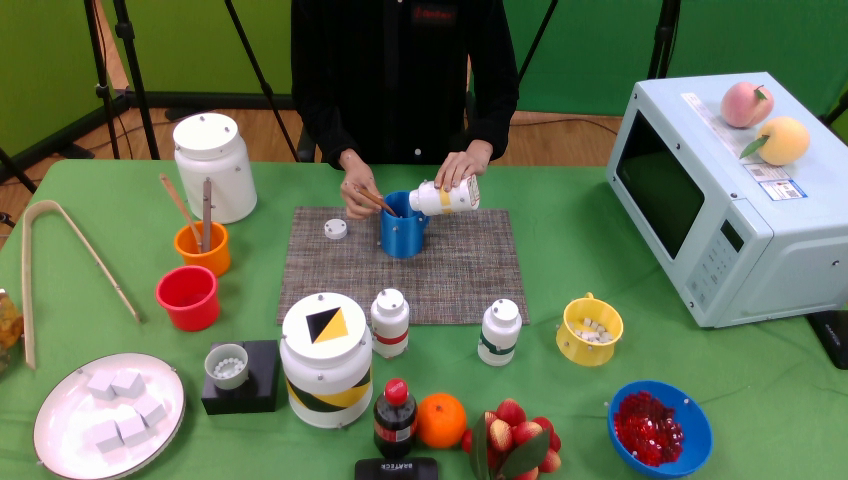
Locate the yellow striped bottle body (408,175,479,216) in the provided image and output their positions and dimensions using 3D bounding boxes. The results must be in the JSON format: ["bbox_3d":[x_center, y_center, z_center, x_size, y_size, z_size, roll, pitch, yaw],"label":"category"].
[{"bbox_3d":[0.033,-0.078,1.087,0.120,0.063,0.062,-6,41,24],"label":"yellow striped bottle body"}]

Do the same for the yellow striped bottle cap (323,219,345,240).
[{"bbox_3d":[-0.179,-0.021,1.204,0.044,0.019,0.044,3,46,-3],"label":"yellow striped bottle cap"}]

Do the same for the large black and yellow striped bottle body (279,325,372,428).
[{"bbox_3d":[-0.143,0.181,0.900,0.131,0.185,0.130,2,46,-2],"label":"large black and yellow striped bottle body"}]

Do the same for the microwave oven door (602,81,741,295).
[{"bbox_3d":[0.456,-0.107,1.162,0.039,0.245,0.353,-6,47,-11],"label":"microwave oven door"}]

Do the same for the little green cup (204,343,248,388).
[{"bbox_3d":[-0.294,0.190,0.909,0.061,0.039,0.061,1,48,-1],"label":"little green cup"}]

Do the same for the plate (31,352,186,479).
[{"bbox_3d":[-0.459,0.262,0.898,0.209,0.038,0.208,2,46,-2],"label":"plate"}]

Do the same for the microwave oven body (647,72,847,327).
[{"bbox_3d":[0.607,-0.089,1.164,0.326,0.261,0.438,-7,46,-10],"label":"microwave oven body"}]

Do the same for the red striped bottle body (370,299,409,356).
[{"bbox_3d":[-0.058,0.134,0.997,0.063,0.120,0.062,4,47,-4],"label":"red striped bottle body"}]

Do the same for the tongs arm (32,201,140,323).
[{"bbox_3d":[-0.623,0.035,1.105,0.051,0.026,0.382,-33,56,-25],"label":"tongs arm"}]

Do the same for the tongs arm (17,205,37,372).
[{"bbox_3d":[-0.698,0.072,1.069,0.028,0.028,0.385,-21,51,-13],"label":"tongs arm"}]

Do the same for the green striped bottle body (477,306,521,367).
[{"bbox_3d":[0.124,0.151,0.995,0.063,0.120,0.063,2,46,-1],"label":"green striped bottle body"}]

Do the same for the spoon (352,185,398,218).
[{"bbox_3d":[-0.070,-0.056,1.123,0.021,0.195,0.041,-34,50,13],"label":"spoon"}]

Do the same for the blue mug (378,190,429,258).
[{"bbox_3d":[-0.033,-0.037,1.168,0.116,0.106,0.082,-31,56,-28],"label":"blue mug"}]

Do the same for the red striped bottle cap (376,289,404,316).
[{"bbox_3d":[-0.055,0.098,0.958,0.044,0.018,0.044,0,48,1],"label":"red striped bottle cap"}]

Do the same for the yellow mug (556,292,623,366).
[{"bbox_3d":[0.285,0.145,1.051,0.100,0.064,0.130,7,45,3],"label":"yellow mug"}]

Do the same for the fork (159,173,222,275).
[{"bbox_3d":[-0.427,-0.029,1.103,0.028,0.018,0.207,-31,99,-30],"label":"fork"}]

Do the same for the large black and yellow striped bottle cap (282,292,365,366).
[{"bbox_3d":[-0.138,0.121,0.841,0.115,0.019,0.114,3,47,-3],"label":"large black and yellow striped bottle cap"}]

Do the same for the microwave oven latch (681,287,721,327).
[{"bbox_3d":[0.494,0.119,1.087,0.030,0.029,0.078,-6,46,-9],"label":"microwave oven latch"}]

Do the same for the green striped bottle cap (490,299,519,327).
[{"bbox_3d":[0.127,0.115,0.958,0.044,0.020,0.044,3,48,-3],"label":"green striped bottle cap"}]

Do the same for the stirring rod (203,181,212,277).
[{"bbox_3d":[-0.396,-0.021,1.108,0.014,0.006,0.176,-1,89,-1],"label":"stirring rod"}]

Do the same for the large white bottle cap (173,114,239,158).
[{"bbox_3d":[-0.403,-0.195,1.122,0.115,0.018,0.114,2,47,-2],"label":"large white bottle cap"}]

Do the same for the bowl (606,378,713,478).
[{"bbox_3d":[0.340,0.292,0.906,0.151,0.077,0.150,2,46,-2],"label":"bowl"}]

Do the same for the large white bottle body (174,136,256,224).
[{"bbox_3d":[-0.408,-0.137,1.183,0.131,0.185,0.130,2,46,-2],"label":"large white bottle body"}]
